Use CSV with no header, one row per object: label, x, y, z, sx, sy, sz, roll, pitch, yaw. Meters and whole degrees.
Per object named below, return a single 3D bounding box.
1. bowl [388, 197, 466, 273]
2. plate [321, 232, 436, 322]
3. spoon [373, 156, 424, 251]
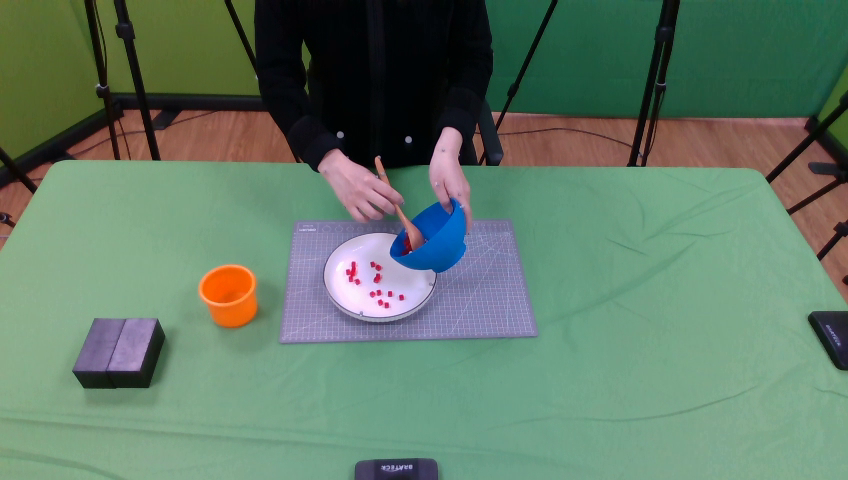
bowl,0.020,0.004,1.046,0.077,0.151,0.151,49,46,-19
plate,-0.083,0.070,1.109,0.209,0.038,0.208,3,46,-2
spoon,-0.044,-0.055,1.037,0.021,0.194,0.041,-17,18,38
